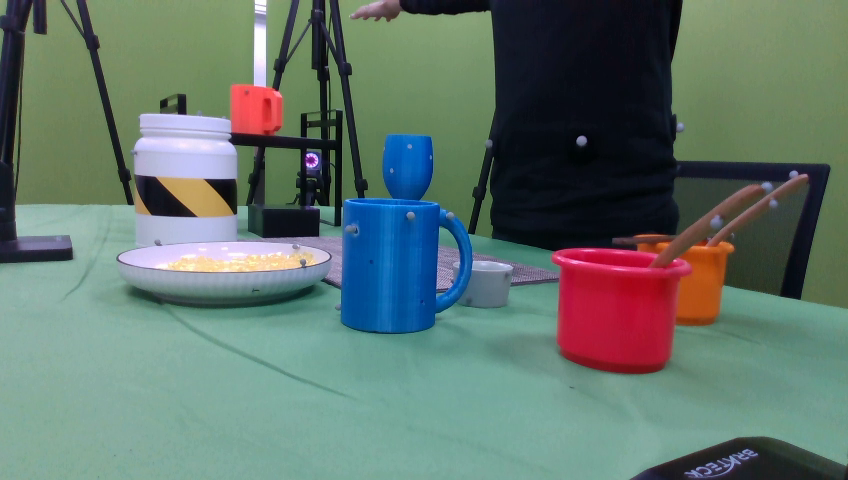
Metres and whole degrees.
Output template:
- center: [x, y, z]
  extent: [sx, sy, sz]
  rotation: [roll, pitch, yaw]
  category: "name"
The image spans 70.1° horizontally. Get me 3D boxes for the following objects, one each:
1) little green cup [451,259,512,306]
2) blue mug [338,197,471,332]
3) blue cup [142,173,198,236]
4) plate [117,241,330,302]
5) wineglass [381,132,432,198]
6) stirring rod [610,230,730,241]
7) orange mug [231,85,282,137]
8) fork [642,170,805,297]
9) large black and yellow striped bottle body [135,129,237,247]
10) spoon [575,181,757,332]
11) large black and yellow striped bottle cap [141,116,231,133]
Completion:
- center: [0.057, 0.043, 0.612]
  extent: [0.061, 0.038, 0.061]
  rotation: [3, 8, 0]
  category: "little green cup"
- center: [-0.016, 0.018, 0.523]
  extent: [0.117, 0.106, 0.082]
  rotation: [1, 8, -13]
  category: "blue mug"
- center: [-0.425, -0.060, 1.014]
  extent: [0.093, 0.100, 0.092]
  rotation: [4, 9, 0]
  category: "blue cup"
- center: [-0.203, 0.031, 0.630]
  extent: [0.209, 0.038, 0.209]
  rotation: [3, 7, 0]
  category: "plate"
- center: [-0.026, -0.062, 0.841]
  extent: [0.074, 0.172, 0.073]
  rotation: [2, 8, 0]
  category: "wineglass"
- center: [0.241, -0.005, 0.582]
  extent: [0.177, 0.006, 0.014]
  rotation: [-3, 9, -34]
  category: "stirring rod"
- center: [-0.335, -0.261, 1.225]
  extent: [0.125, 0.100, 0.084]
  rotation: [2, 6, 35]
  category: "orange mug"
- center: [0.261, 0.004, 0.545]
  extent: [0.028, 0.018, 0.207]
  rotation: [5, -37, -15]
  category: "fork"
- center: [-0.327, -0.074, 0.838]
  extent: [0.131, 0.184, 0.130]
  rotation: [2, 7, 0]
  category: "large black and yellow striped bottle body"
- center: [0.156, 0.020, 0.412]
  extent: [0.042, 0.021, 0.193]
  rotation: [1, -36, -16]
  category: "spoon"
- center: [-0.324, -0.157, 0.826]
  extent: [0.115, 0.019, 0.115]
  rotation: [1, 7, 0]
  category: "large black and yellow striped bottle cap"
